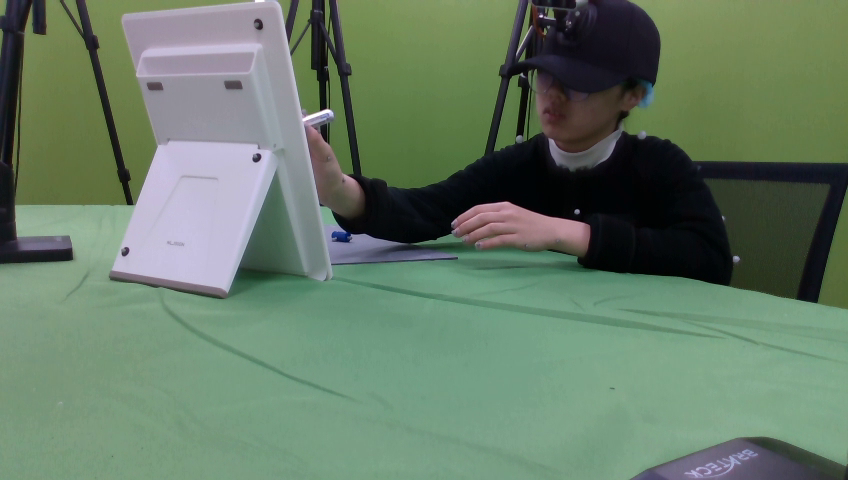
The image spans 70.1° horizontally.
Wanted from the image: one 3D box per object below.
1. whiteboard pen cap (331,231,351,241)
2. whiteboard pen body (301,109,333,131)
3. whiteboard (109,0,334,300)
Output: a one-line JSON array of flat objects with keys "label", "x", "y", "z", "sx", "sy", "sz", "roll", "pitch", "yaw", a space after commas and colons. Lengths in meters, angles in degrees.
[{"label": "whiteboard pen cap", "x": -0.139, "y": -0.007, "z": 1.011, "sx": 0.033, "sy": 0.018, "sz": 0.018, "roll": 4, "pitch": 7, "yaw": 36}, {"label": "whiteboard pen body", "x": -0.141, "y": -0.134, "z": 0.706, "sx": 0.017, "sy": 0.017, "sz": 0.141, "roll": 4, "pitch": 22, "yaw": 16}, {"label": "whiteboard", "x": -0.247, "y": -0.072, "z": 0.624, "sx": 0.216, "sy": 0.305, "sz": 0.144, "roll": 6, "pitch": 28, "yaw": 26}]
